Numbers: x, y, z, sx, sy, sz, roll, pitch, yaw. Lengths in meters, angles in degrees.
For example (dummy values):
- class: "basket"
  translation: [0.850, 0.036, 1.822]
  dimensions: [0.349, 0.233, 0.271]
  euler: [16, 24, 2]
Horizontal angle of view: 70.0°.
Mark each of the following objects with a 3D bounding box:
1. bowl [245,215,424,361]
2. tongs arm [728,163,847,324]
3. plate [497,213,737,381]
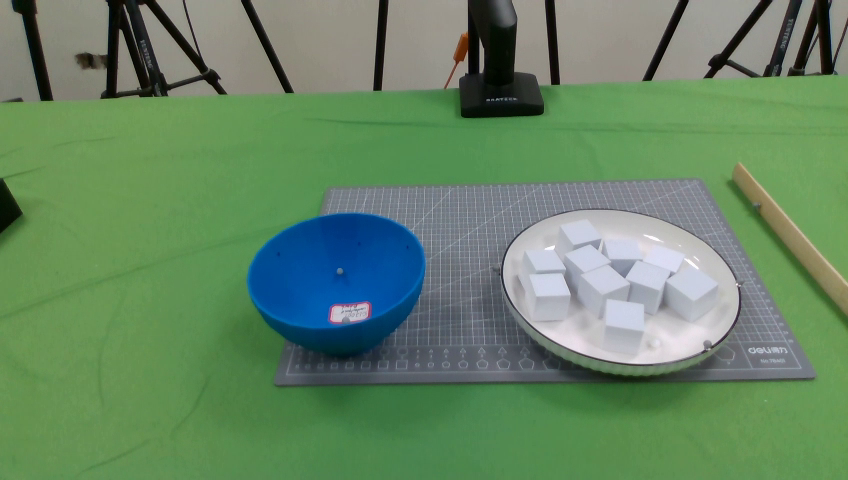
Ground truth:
- class: "bowl"
  translation: [-0.073, 0.052, 0.534]
  dimensions: [0.151, 0.077, 0.150]
  euler: [-2, 38, 2]
- class: "tongs arm"
  translation: [0.386, 0.037, 0.570]
  dimensions: [0.028, 0.028, 0.383]
  euler: [-4, 39, -5]
- class: "plate"
  translation: [0.171, 0.050, 0.555]
  dimensions: [0.207, 0.039, 0.205]
  euler: [-2, 38, 2]
